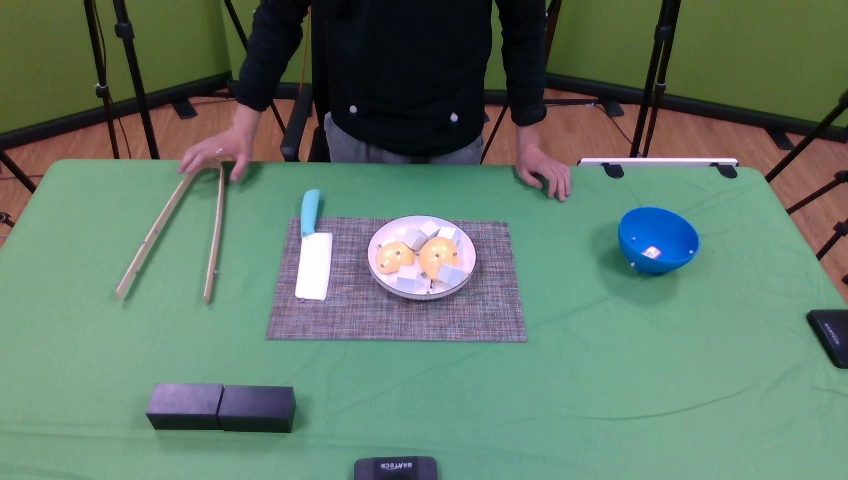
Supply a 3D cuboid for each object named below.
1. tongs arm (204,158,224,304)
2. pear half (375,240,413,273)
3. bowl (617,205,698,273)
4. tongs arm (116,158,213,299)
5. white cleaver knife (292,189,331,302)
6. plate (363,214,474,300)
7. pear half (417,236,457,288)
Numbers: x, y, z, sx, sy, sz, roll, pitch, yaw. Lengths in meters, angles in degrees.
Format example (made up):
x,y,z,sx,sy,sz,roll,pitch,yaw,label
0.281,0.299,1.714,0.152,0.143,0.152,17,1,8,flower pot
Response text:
x,y,z,sx,sy,sz,roll,pitch,yaw,label
-0.416,-0.031,1.192,0.028,0.028,0.385,-6,47,-7,tongs arm
-0.059,0.026,1.145,0.070,0.031,0.088,22,43,21,pear half
0.444,0.011,1.182,0.151,0.077,0.150,2,46,-2,bowl
-0.496,-0.037,1.184,0.051,0.026,0.382,6,45,-1,tongs arm
-0.215,0.006,1.178,0.066,0.021,0.284,5,49,-12,white cleaver knife
-0.010,0.036,1.146,0.208,0.039,0.206,2,46,-2,plate
0.022,0.039,1.127,0.076,0.056,0.109,6,50,7,pear half
